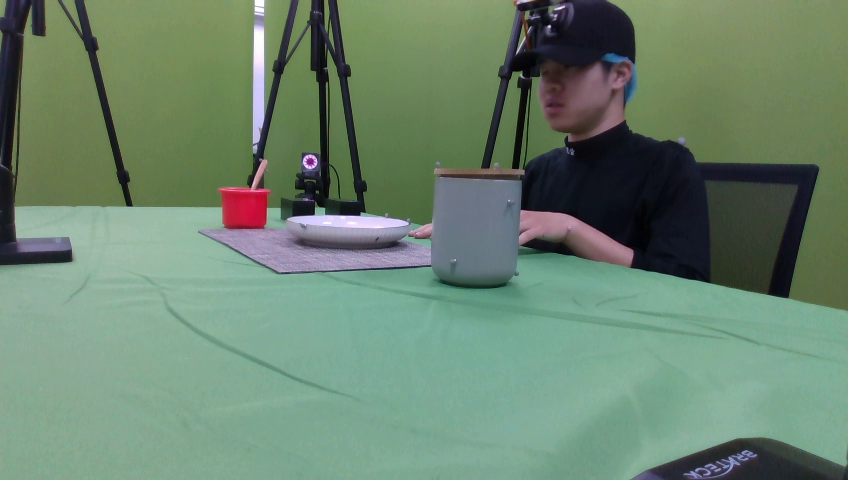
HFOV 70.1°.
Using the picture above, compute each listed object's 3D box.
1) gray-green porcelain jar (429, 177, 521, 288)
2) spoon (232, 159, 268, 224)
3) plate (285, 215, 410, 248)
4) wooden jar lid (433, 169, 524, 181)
[{"bbox_3d":[0.060,-0.011,0.725,0.106,0.126,0.106,2,7,0],"label":"gray-green porcelain jar"},{"bbox_3d":[-0.342,-0.101,1.218,0.041,0.021,0.193,4,51,3],"label":"spoon"},{"bbox_3d":[-0.127,-0.015,1.012,0.208,0.039,0.207,3,7,0],"label":"plate"},{"bbox_3d":[0.064,-0.074,0.717,0.108,0.020,0.108,0,5,0],"label":"wooden jar lid"}]
